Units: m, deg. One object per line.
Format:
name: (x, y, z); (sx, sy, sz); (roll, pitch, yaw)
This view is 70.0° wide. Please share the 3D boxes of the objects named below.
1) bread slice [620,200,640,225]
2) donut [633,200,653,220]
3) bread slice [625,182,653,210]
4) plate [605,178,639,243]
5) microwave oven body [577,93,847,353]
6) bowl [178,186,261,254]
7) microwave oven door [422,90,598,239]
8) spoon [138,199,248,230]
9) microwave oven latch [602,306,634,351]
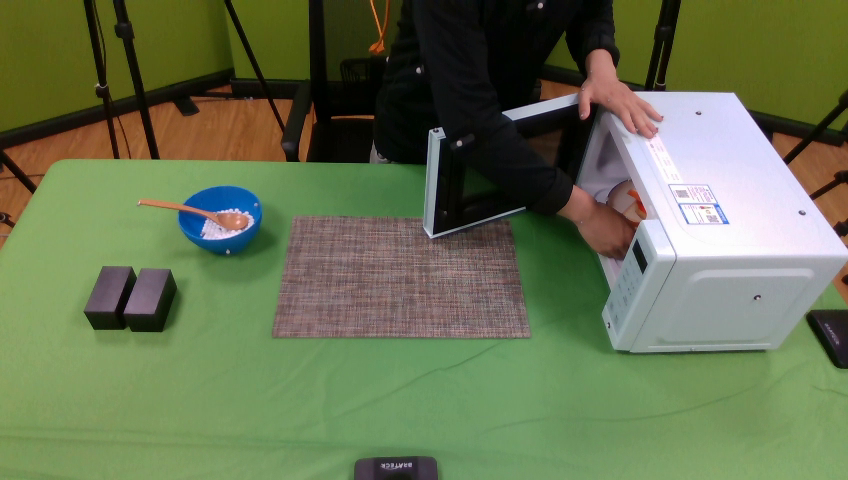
bread slice: (0.465, -0.044, 1.173); (0.134, 0.018, 0.107); (35, 63, 21)
donut: (0.450, -0.060, 1.160); (0.099, 0.048, 0.098); (6, 44, -5)
bread slice: (0.463, -0.080, 1.139); (0.105, 0.019, 0.131); (-30, 53, -34)
plate: (0.455, -0.042, 1.182); (0.208, 0.039, 0.206); (2, 46, -2)
microwave oven body: (0.475, -0.042, 1.109); (0.326, 0.261, 0.438); (-1, 45, -4)
bowl: (-0.383, -0.026, 1.158); (0.151, 0.077, 0.150); (2, 46, -2)
microwave oven door: (0.166, -0.147, 1.182); (0.356, 0.245, 0.039); (-18, 49, -20)
spoon: (-0.431, -0.053, 1.135); (0.194, 0.022, 0.041); (15, 48, -20)
microwave oven latch: (0.332, 0.153, 1.044); (0.030, 0.029, 0.078); (0, 45, -3)
